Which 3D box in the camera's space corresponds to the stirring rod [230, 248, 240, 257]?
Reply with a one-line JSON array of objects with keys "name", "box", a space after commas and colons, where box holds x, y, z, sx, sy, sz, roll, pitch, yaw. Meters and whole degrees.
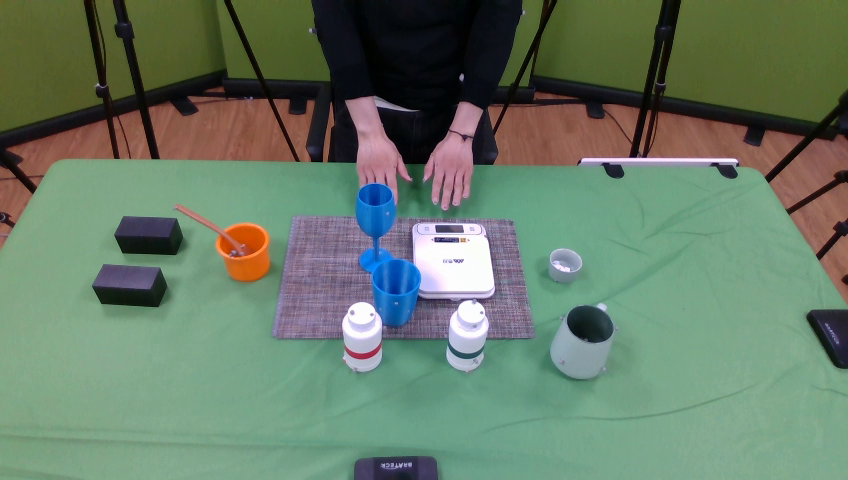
[{"name": "stirring rod", "box": [-0.330, 0.023, 1.059, 0.014, 0.176, 0.006, 33, 79, -11]}]

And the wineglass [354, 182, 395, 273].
[{"name": "wineglass", "box": [-0.089, -0.020, 1.098, 0.074, 0.173, 0.073, 2, 46, -2]}]

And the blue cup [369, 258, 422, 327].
[{"name": "blue cup", "box": [-0.051, 0.097, 1.039, 0.093, 0.101, 0.092, 3, 43, -2]}]

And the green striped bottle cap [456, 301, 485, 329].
[{"name": "green striped bottle cap", "box": [0.073, 0.116, 0.943, 0.044, 0.020, 0.044, 3, 46, -3]}]

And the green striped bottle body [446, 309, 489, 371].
[{"name": "green striped bottle body", "box": [0.070, 0.155, 0.984, 0.063, 0.120, 0.063, 2, 46, -2]}]

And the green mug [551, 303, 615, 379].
[{"name": "green mug", "box": [0.271, 0.157, 1.007, 0.092, 0.105, 0.125, 27, 50, 21]}]

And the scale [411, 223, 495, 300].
[{"name": "scale", "box": [0.052, 0.031, 1.158, 0.149, 0.032, 0.199, 1, 46, -4]}]

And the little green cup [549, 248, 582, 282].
[{"name": "little green cup", "box": [0.268, 0.050, 1.156, 0.061, 0.039, 0.061, 2, 46, -1]}]

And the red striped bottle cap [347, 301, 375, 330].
[{"name": "red striped bottle cap", "box": [-0.097, 0.116, 0.934, 0.044, 0.018, 0.044, 3, 48, -3]}]

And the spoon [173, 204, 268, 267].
[{"name": "spoon", "box": [-0.363, -0.009, 1.089, 0.021, 0.195, 0.041, -35, 31, 23]}]

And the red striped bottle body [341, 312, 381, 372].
[{"name": "red striped bottle body", "box": [-0.100, 0.154, 0.972, 0.063, 0.120, 0.062, 2, 46, -2]}]
